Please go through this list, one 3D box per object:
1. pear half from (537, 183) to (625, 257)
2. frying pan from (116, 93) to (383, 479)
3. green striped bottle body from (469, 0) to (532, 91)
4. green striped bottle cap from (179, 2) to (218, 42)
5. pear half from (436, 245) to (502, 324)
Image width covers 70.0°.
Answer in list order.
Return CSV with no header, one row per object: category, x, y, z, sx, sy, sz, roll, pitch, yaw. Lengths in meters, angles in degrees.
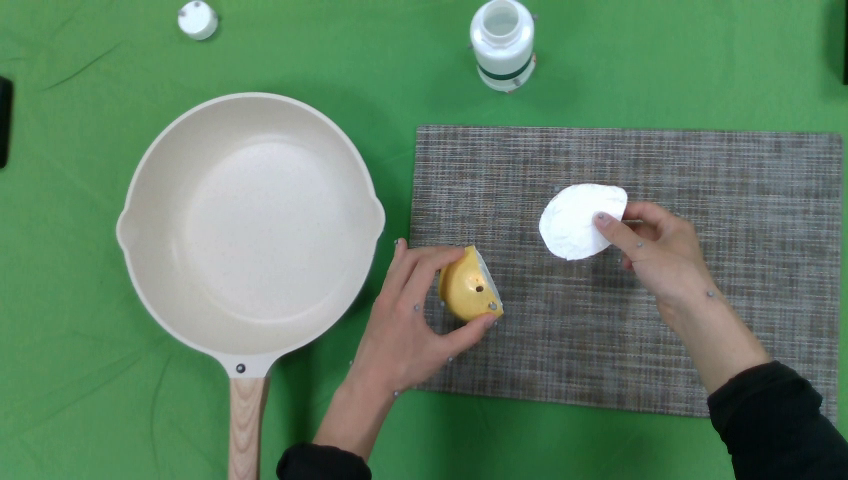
pear half,0.151,-0.025,0.590,0.088,0.031,0.071,-33,110,6
frying pan,-0.190,0.087,0.663,0.306,0.103,0.485,-2,77,9
green striped bottle body,0.081,-0.205,0.633,0.063,0.119,0.063,-1,85,9
green striped bottle cap,-0.277,-0.268,0.744,0.044,0.020,0.044,-1,86,10
pear half,0.039,0.047,0.572,0.056,0.110,0.076,-30,85,3
